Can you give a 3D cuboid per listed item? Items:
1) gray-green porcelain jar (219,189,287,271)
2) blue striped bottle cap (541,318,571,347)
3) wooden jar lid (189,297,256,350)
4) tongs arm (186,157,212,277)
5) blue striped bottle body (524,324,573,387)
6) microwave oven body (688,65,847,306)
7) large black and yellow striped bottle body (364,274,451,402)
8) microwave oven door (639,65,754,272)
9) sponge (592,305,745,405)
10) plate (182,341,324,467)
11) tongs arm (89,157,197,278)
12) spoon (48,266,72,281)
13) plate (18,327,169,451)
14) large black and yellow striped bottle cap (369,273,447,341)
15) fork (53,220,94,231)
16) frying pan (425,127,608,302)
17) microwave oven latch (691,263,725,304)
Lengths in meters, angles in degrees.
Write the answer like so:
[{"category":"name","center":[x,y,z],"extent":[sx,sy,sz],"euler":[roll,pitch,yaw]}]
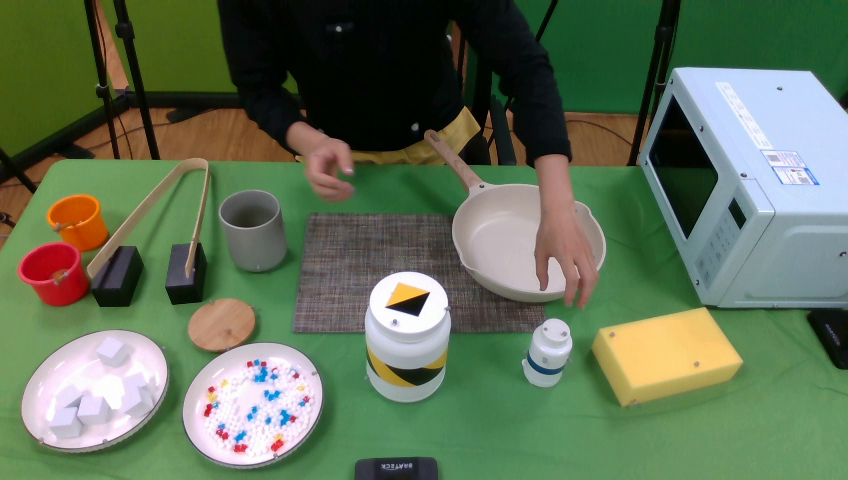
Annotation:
[{"category":"gray-green porcelain jar","center":[-0.309,-0.014,1.113],"extent":[0.106,0.127,0.105],"euler":[2,47,-2]},{"category":"blue striped bottle cap","center":[0.203,0.142,0.933],"extent":[0.044,0.021,0.044],"euler":[3,50,-3]},{"category":"wooden jar lid","center":[-0.342,0.145,1.033],"extent":[0.108,0.021,0.107],"euler":[3,45,-2]},{"category":"tongs arm","center":[-0.445,-0.058,1.168],"extent":[0.051,0.026,0.382],"euler":[-5,37,-6]},{"category":"blue striped bottle body","center":[0.200,0.178,0.970],"extent":[0.063,0.121,0.062],"euler":[2,46,-2]},{"category":"microwave oven body","center":[0.669,-0.111,1.176],"extent":[0.326,0.261,0.439],"euler":[0,46,-3]},{"category":"large black and yellow striped bottle body","center":[-0.026,0.151,0.937],"extent":[0.131,0.185,0.130],"euler":[2,47,-2]},{"category":"microwave oven door","center":[0.522,-0.147,1.192],"extent":[0.039,0.245,0.353],"euler":[0,47,-3]},{"category":"sponge","center":[0.405,0.190,1.015],"extent":[0.207,0.061,0.117],"euler":[-10,48,-12]},{"category":"plate","center":[-0.257,0.250,0.927],"extent":[0.209,0.038,0.208],"euler":[3,46,-2]},{"category":"tongs arm","center":[-0.530,-0.058,1.164],"extent":[0.028,0.028,0.385],"euler":[1,36,8]},{"category":"spoon","center":[-0.609,0.057,1.010],"extent":[0.041,0.022,0.193],"euler":[-33,13,-27]},{"category":"plate","center":[-0.498,0.229,0.929],"extent":[0.208,0.039,0.206],"euler":[2,47,-2]},{"category":"large black and yellow striped bottle cap","center":[-0.023,0.094,0.875],"extent":[0.115,0.019,0.114],"euler":[2,45,-2]},{"category":"fork","center":[-0.627,-0.027,1.086],"extent":[0.028,0.018,0.207],"euler":[0,2,-15]},{"category":"frying pan","center":[0.143,-0.069,1.208],"extent":[0.307,0.103,0.485],"euler":[-23,60,-24]},{"category":"microwave oven latch","center":[0.521,0.081,1.116],"extent":[0.030,0.029,0.078],"euler":[0,46,-3]}]
